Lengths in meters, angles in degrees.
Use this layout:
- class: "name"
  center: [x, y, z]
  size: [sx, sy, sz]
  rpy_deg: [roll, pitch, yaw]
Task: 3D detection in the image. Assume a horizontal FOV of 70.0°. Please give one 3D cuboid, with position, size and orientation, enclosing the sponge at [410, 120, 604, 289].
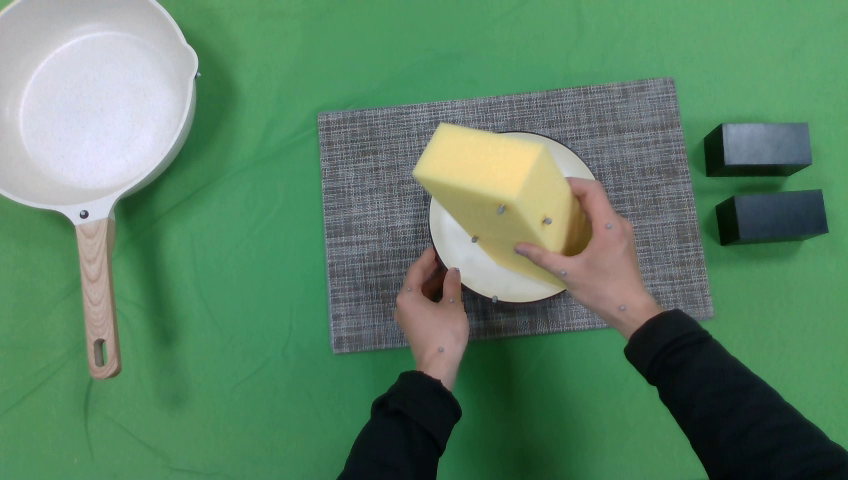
- class: "sponge"
  center: [0.092, -0.031, 0.615]
  size: [0.117, 0.209, 0.061]
  rpy_deg: [19, 76, 38]

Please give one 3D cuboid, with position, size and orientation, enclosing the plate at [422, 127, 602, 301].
- class: "plate"
  center: [0.103, -0.030, 0.719]
  size: [0.207, 0.039, 0.207]
  rpy_deg: [0, 81, 2]

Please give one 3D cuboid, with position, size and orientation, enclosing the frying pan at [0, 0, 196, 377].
- class: "frying pan"
  center: [-0.396, -0.079, 0.714]
  size: [0.307, 0.103, 0.484]
  rpy_deg: [-13, 72, 1]
